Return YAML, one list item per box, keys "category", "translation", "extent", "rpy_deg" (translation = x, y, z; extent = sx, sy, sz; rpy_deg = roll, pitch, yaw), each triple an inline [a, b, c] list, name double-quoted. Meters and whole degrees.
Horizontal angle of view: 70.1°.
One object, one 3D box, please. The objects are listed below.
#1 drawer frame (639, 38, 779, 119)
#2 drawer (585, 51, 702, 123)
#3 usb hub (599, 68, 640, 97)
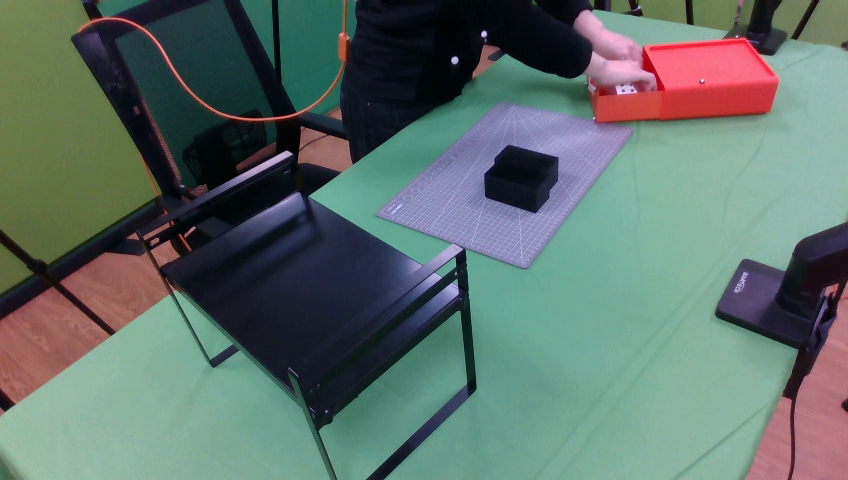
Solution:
- category: "drawer frame"
  translation: [0.564, -0.329, 1.227]
  extent: [0.213, 0.083, 0.201]
  rpy_deg: [-2, 40, 5]
- category: "drawer"
  translation: [0.447, -0.321, 1.244]
  extent: [0.211, 0.073, 0.193]
  rpy_deg: [0, 41, 6]
- category: "usb hub"
  translation: [0.402, -0.315, 1.252]
  extent: [0.049, 0.025, 0.125]
  rpy_deg: [25, 49, 25]
